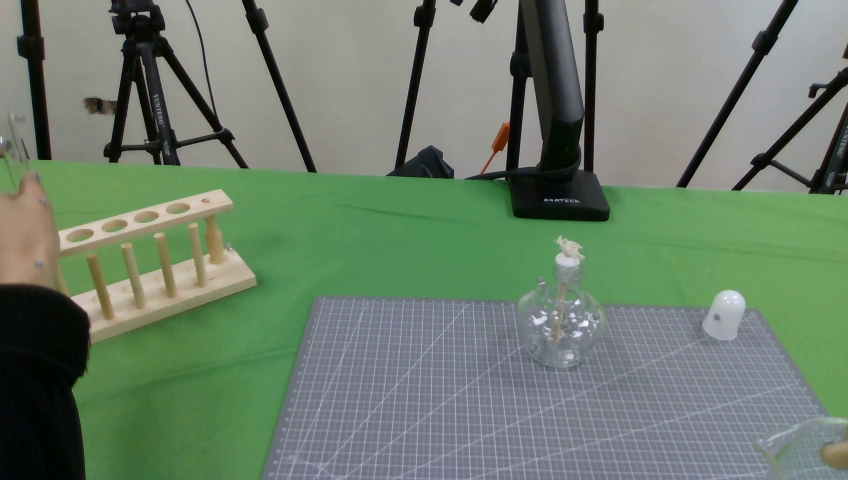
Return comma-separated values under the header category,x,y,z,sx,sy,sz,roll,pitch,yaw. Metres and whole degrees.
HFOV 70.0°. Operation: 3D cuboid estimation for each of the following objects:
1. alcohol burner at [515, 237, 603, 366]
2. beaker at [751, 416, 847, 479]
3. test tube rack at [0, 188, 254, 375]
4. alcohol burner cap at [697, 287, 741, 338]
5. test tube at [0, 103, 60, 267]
category,x,y,z,sx,sy,sz,roll,pitch,yaw
alcohol burner,0.119,0.050,0.528,0.078,0.120,0.077,0,32,0
beaker,0.180,0.140,0.275,0.083,0.101,0.074,25,43,32
test tube rack,-0.291,0.032,0.565,0.243,0.086,0.066,-20,40,-30
alcohol burner cap,0.282,0.066,0.577,0.034,0.048,0.033,2,34,-1
test tube,-0.328,-0.039,0.500,0.017,0.151,0.017,3,34,-2
